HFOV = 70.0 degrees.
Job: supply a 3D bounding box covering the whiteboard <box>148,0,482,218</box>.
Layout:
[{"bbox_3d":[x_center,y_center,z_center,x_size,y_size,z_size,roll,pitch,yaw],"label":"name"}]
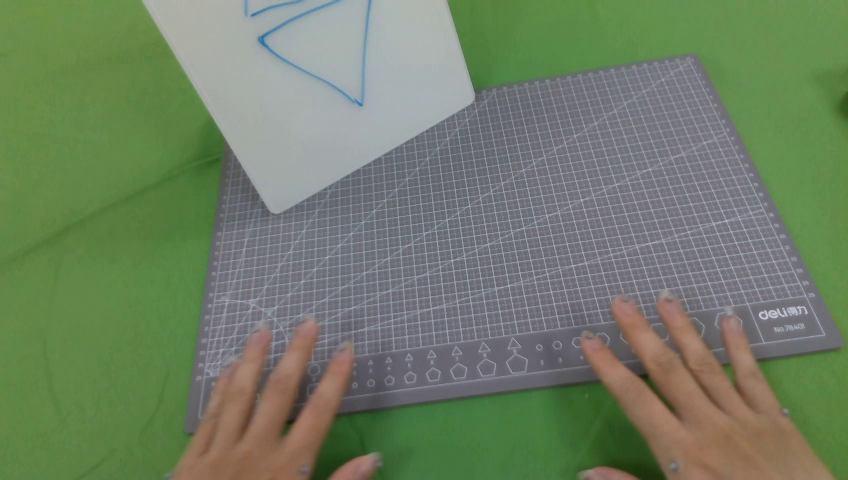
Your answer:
[{"bbox_3d":[-0.113,-0.217,0.504,0.217,0.308,0.142,-31,36,-11],"label":"whiteboard"}]
